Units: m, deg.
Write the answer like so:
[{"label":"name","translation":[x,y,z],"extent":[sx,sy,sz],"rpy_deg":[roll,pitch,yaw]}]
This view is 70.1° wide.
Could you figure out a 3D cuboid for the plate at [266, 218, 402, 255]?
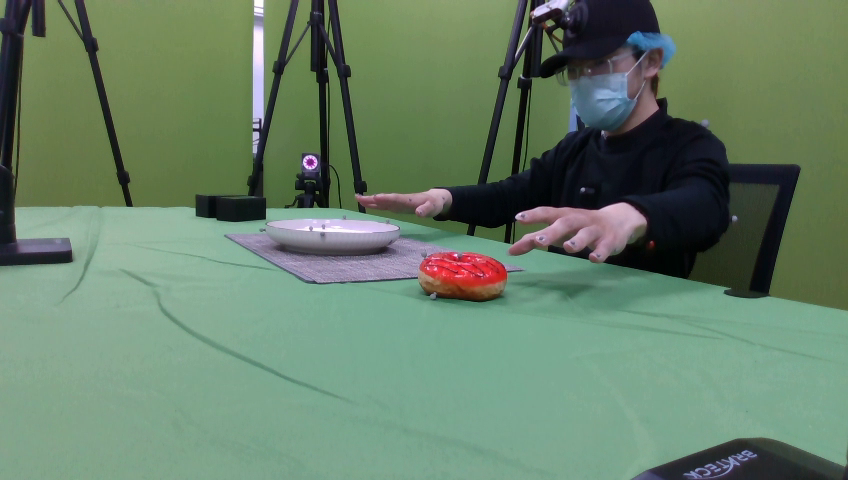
[{"label":"plate","translation":[-0.138,-0.006,0.940],"extent":[0.208,0.039,0.207],"rpy_deg":[2,7,0]}]

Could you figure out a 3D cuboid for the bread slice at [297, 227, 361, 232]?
[{"label":"bread slice","translation":[-0.142,-0.005,0.939],"extent":[0.131,0.019,0.105],"rpy_deg":[8,9,33]}]

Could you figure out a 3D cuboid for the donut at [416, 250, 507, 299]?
[{"label":"donut","translation":[0.040,0.038,0.650],"extent":[0.099,0.048,0.099],"rpy_deg":[4,9,0]}]
